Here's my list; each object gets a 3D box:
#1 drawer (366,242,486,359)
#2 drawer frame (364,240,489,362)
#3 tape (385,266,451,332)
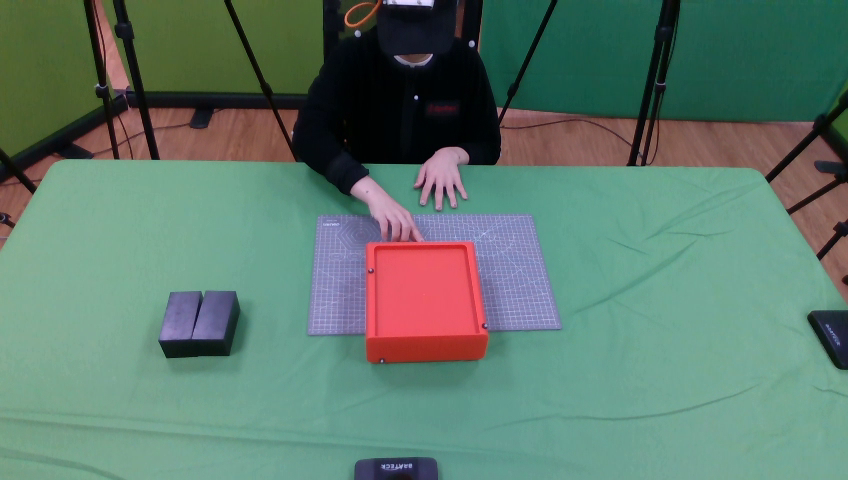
[{"bbox_3d":[-0.002,0.101,1.057,0.195,0.073,0.210,0,47,-5],"label":"drawer"},{"bbox_3d":[-0.002,0.101,1.054,0.202,0.083,0.212,-1,47,-5],"label":"drawer frame"},{"bbox_3d":[-0.010,0.103,1.063,0.117,0.053,0.116,2,46,-2],"label":"tape"}]
